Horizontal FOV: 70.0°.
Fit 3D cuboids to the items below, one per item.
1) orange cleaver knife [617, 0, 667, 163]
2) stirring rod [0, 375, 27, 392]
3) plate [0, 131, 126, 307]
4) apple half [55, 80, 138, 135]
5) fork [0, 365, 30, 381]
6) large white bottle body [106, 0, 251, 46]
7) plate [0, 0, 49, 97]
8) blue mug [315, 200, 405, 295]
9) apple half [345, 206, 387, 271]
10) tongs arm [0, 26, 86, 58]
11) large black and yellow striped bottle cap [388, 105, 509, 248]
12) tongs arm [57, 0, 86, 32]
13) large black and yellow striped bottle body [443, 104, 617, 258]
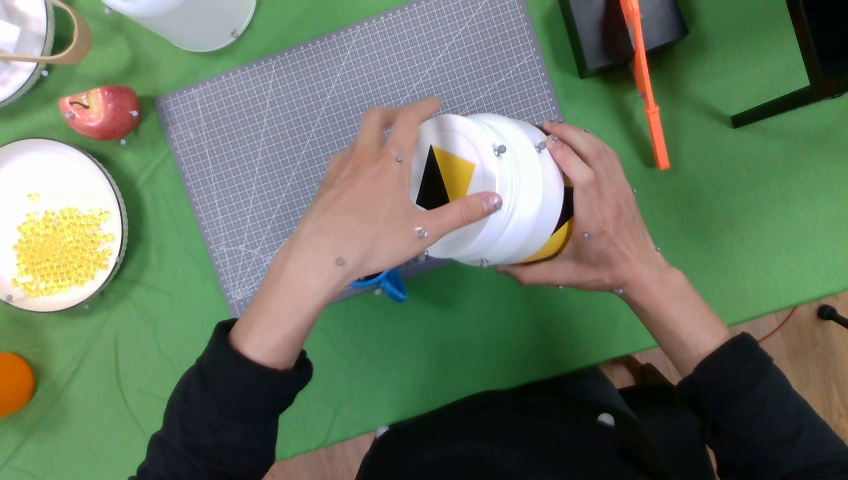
[{"bbox_3d":[0.231,-0.185,0.651,0.012,0.076,0.213,-17,119,13],"label":"orange cleaver knife"},{"bbox_3d":[-0.562,0.188,0.697,0.177,0.006,0.014,-13,81,-36],"label":"stirring rod"},{"bbox_3d":[-0.455,-0.025,0.729,0.209,0.038,0.209,0,95,4],"label":"plate"},{"bbox_3d":[-0.370,-0.148,0.697,0.081,0.074,0.053,-15,96,1],"label":"apple half"},{"bbox_3d":[-0.576,0.172,0.695,0.208,0.018,0.028,-4,93,-39],"label":"fork"},{"bbox_3d":[-0.270,-0.288,0.624,0.130,0.184,0.130,0,93,4],"label":"large white bottle body"},{"bbox_3d":[-0.539,-0.265,0.717,0.207,0.039,0.208,0,94,4],"label":"plate"},{"bbox_3d":[-0.058,0.011,0.670,0.082,0.106,0.116,-34,91,5],"label":"blue mug"},{"bbox_3d":[-0.056,0.001,0.663,0.032,0.081,0.081,13,95,11],"label":"apple half"},{"bbox_3d":[-0.575,-0.243,0.689,0.384,0.026,0.051,10,91,5],"label":"tongs arm"},{"bbox_3d":[0.016,-0.050,0.483,0.114,0.019,0.115,1,92,42],"label":"large black and yellow striped bottle cap"},{"bbox_3d":[-0.554,-0.324,0.684,0.387,0.028,0.028,24,88,4],"label":"tongs arm"},{"bbox_3d":[0.074,-0.050,0.544,0.130,0.185,0.130,1,92,43],"label":"large black and yellow striped bottle body"}]
